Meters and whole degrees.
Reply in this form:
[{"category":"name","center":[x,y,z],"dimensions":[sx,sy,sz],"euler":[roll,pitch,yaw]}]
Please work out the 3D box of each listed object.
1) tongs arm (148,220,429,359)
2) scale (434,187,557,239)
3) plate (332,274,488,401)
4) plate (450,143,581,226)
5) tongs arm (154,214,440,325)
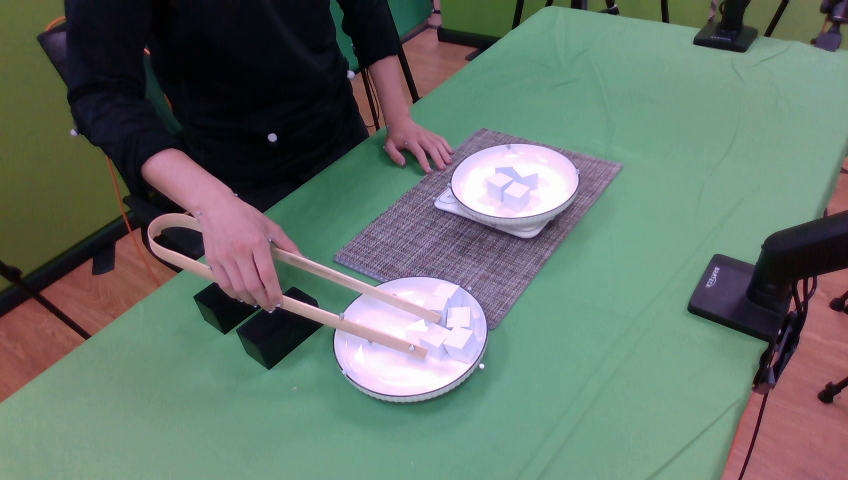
[{"category":"tongs arm","center":[-0.173,0.063,0.767],"dimensions":[0.385,0.026,0.050],"euler":[20,51,-1]},{"category":"scale","center":[0.132,-0.074,1.025],"dimensions":[0.199,0.032,0.149],"euler":[22,48,30]},{"category":"plate","center":[-0.017,0.130,0.808],"dimensions":[0.207,0.039,0.206],"euler":[-4,41,4]},{"category":"plate","center":[0.148,-0.087,0.986],"dimensions":[0.209,0.038,0.208],"euler":[-4,41,4]},{"category":"tongs arm","center":[-0.162,0.039,0.789],"dimensions":[0.388,0.028,0.028],"euler":[20,55,-1]}]
